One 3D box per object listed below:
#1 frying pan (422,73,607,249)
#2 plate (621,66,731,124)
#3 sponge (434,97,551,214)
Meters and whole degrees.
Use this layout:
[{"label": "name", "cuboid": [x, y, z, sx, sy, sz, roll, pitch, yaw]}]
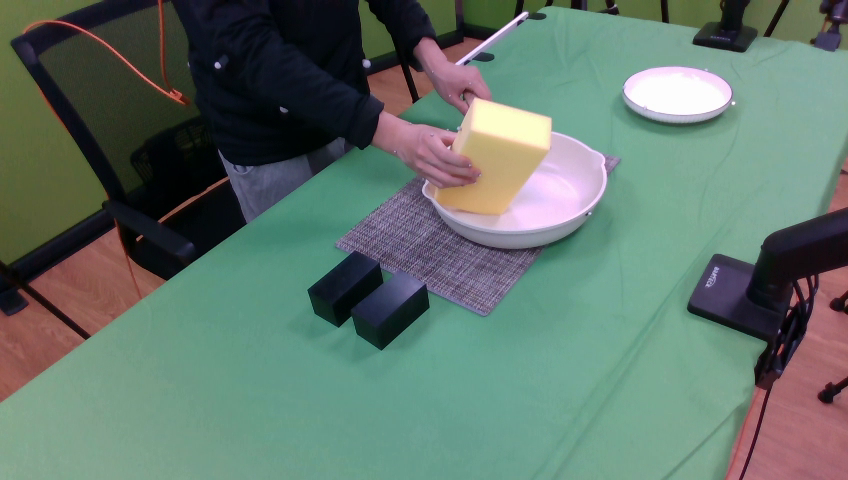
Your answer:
[{"label": "frying pan", "cuboid": [0.130, -0.161, 1.069, 0.307, 0.103, 0.484, -10, 49, -5]}, {"label": "plate", "cuboid": [0.503, -0.288, 1.221, 0.207, 0.039, 0.206, -4, 41, 4]}, {"label": "sponge", "cuboid": [0.098, -0.118, 0.930, 0.118, 0.206, 0.060, 13, 62, -9]}]
